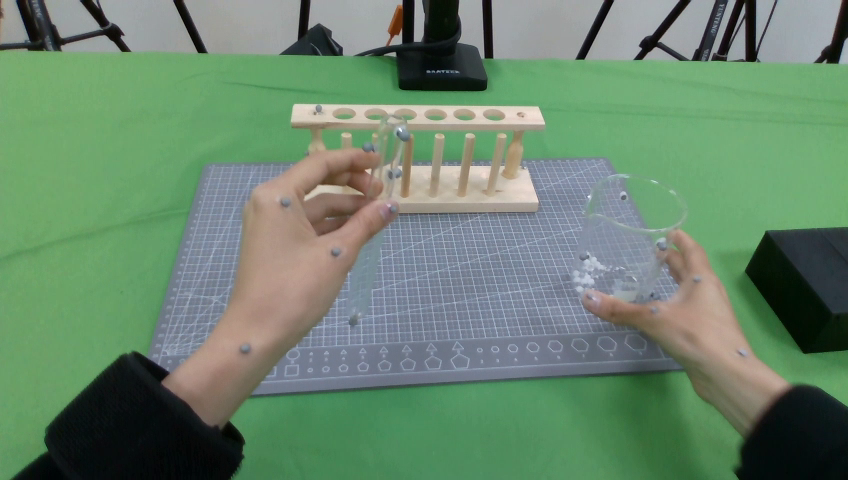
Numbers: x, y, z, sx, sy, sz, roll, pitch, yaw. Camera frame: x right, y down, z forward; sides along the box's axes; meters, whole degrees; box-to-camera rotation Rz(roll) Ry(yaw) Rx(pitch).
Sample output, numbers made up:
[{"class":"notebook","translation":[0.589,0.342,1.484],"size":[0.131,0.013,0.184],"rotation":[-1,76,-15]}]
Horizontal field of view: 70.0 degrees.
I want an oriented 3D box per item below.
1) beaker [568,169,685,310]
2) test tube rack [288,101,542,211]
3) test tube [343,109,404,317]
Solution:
[{"class":"beaker","translation":[0.162,0.003,0.508],"size":[0.084,0.101,0.073],"rotation":[-7,43,-11]},{"class":"test tube rack","translation":[-0.008,-0.083,0.601],"size":[0.243,0.086,0.066],"rotation":[-1,42,-6]},{"class":"test tube","translation":[-0.034,-0.010,0.380],"size":[0.017,0.151,0.017],"rotation":[10,33,-6]}]
